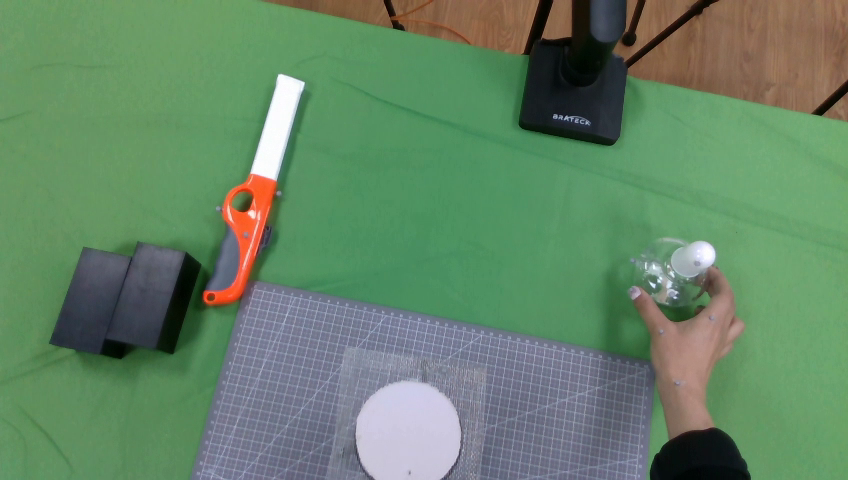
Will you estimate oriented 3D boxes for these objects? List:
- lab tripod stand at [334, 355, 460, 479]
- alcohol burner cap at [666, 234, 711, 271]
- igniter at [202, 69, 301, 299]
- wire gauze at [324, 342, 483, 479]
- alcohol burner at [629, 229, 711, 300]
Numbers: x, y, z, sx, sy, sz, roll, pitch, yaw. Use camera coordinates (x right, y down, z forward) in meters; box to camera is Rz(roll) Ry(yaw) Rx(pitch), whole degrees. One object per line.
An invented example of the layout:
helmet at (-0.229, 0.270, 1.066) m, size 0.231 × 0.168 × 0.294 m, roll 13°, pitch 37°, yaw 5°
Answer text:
lab tripod stand at (-0.018, 0.172, 0.562) m, size 0.148 × 0.132 × 0.147 m, roll 1°, pitch 73°, yaw -2°
alcohol burner cap at (0.265, 0.011, 0.601) m, size 0.034 × 0.048 × 0.033 m, roll 0°, pitch 78°, yaw 0°
igniter at (-0.188, -0.065, 0.674) m, size 0.057 × 0.025 × 0.275 m, roll 17°, pitch 74°, yaw -15°
wire gauze at (-0.016, 0.150, 0.498) m, size 0.125 × 0.011 × 0.121 m, roll 7°, pitch 73°, yaw -2°
alcohol burner at (0.263, 0.021, 0.635) m, size 0.078 × 0.119 × 0.077 m, roll 1°, pitch 72°, yaw -3°
